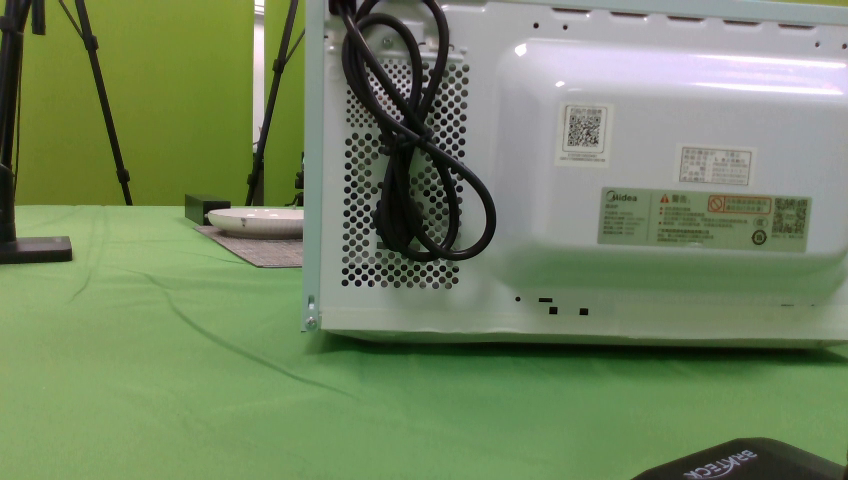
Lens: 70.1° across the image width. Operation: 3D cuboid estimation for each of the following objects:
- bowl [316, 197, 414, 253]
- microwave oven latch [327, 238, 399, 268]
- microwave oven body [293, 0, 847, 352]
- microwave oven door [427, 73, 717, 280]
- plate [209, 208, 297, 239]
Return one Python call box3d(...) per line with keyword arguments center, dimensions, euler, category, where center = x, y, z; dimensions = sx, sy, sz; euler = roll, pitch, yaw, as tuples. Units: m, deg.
box3d(center=(-0.092, -0.023, 0.931), dimensions=(0.151, 0.077, 0.151), euler=(3, 7, 0), category="bowl")
box3d(center=(-0.069, 0.015, 0.694), dimensions=(0.079, 0.029, 0.030), euler=(3, 7, -3), category="microwave oven latch")
box3d(center=(0.122, -0.055, 0.550), dimensions=(0.442, 0.260, 0.325), euler=(3, 7, -5), category="microwave oven body")
box3d(center=(0.175, -0.088, 0.785), dimensions=(0.354, 0.243, 0.039), euler=(6, 7, 26), category="microwave oven door")
box3d(center=(-0.271, -0.029, 1.074), dimensions=(0.208, 0.039, 0.207), euler=(3, 7, 0), category="plate")
